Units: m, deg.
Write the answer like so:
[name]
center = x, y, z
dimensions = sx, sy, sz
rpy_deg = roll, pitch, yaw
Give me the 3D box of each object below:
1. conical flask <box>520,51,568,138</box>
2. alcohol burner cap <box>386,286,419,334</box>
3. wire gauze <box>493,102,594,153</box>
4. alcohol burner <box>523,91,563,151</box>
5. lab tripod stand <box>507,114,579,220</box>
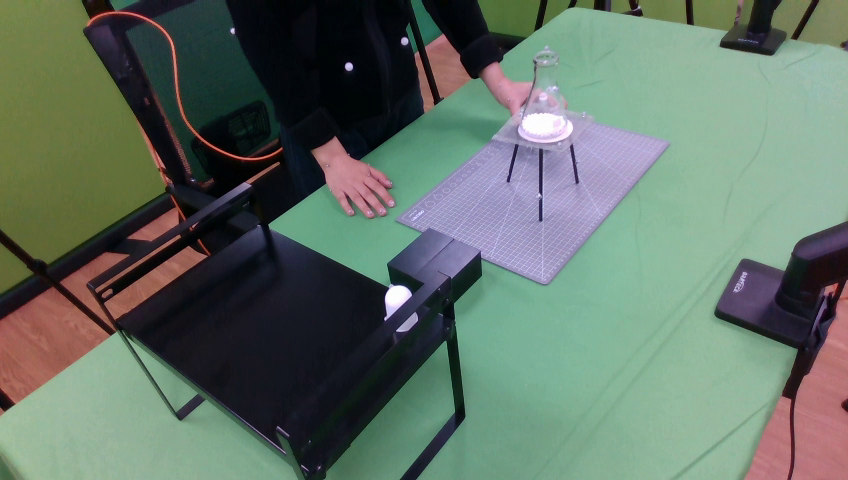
[conical flask]
center = 0.185, -0.223, 0.926
dimensions = 0.075, 0.122, 0.075
rpy_deg = -4, 42, 4
[alcohol burner cap]
center = -0.024, 0.067, 0.604
dimensions = 0.034, 0.048, 0.033
rpy_deg = -4, 40, 4
[wire gauze]
center = 0.191, -0.179, 0.965
dimensions = 0.120, 0.011, 0.125
rpy_deg = 18, 49, 29
[alcohol burner]
center = 0.220, -0.226, 1.125
dimensions = 0.078, 0.119, 0.077
rpy_deg = -4, 44, 5
[lab tripod stand]
center = 0.199, -0.128, 1.005
dimensions = 0.148, 0.132, 0.147
rpy_deg = -3, 42, 3
